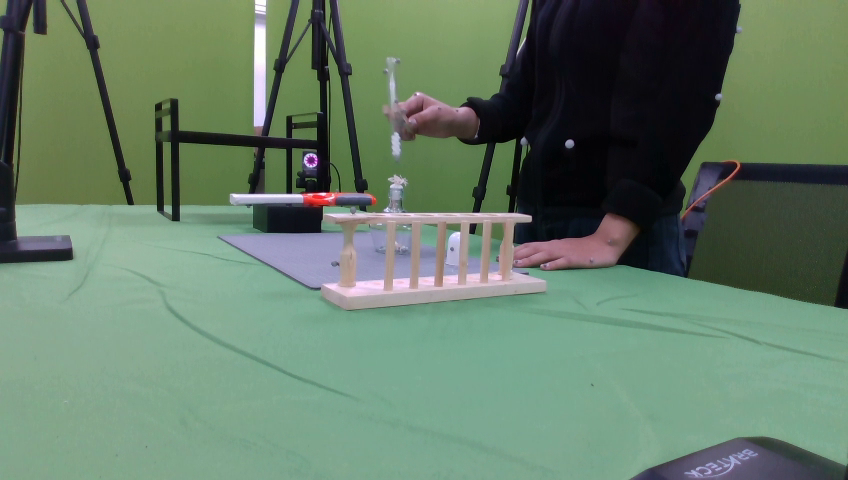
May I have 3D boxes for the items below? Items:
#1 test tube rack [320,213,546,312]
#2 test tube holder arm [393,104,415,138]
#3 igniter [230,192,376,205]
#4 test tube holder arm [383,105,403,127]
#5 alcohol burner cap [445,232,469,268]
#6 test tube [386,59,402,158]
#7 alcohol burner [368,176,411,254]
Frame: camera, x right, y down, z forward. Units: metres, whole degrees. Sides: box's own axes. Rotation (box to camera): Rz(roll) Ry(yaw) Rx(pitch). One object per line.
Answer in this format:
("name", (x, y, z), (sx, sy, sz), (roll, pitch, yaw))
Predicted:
("test tube rack", (0.018, 0.017, 0.638), (0.244, 0.085, 0.066), (-2, 9, -31))
("test tube holder arm", (-0.031, -0.190, 0.981), (0.013, 0.015, 0.178), (-5, -3, 8))
("igniter", (-0.226, -0.079, 1.161), (0.278, 0.025, 0.057), (-2, 15, -28))
("test tube holder arm", (-0.045, -0.191, 0.938), (0.010, 0.015, 0.088), (-6, -3, 16))
("alcohol burner cap", (0.046, 0.013, 0.829), (0.034, 0.048, 0.034), (2, 8, 0))
("test tube", (-0.045, -0.199, 0.915), (0.017, 0.150, 0.017), (-3, 0, 0))
("alcohol burner", (-0.045, -0.038, 0.912), (0.078, 0.119, 0.078), (4, 7, 0))
